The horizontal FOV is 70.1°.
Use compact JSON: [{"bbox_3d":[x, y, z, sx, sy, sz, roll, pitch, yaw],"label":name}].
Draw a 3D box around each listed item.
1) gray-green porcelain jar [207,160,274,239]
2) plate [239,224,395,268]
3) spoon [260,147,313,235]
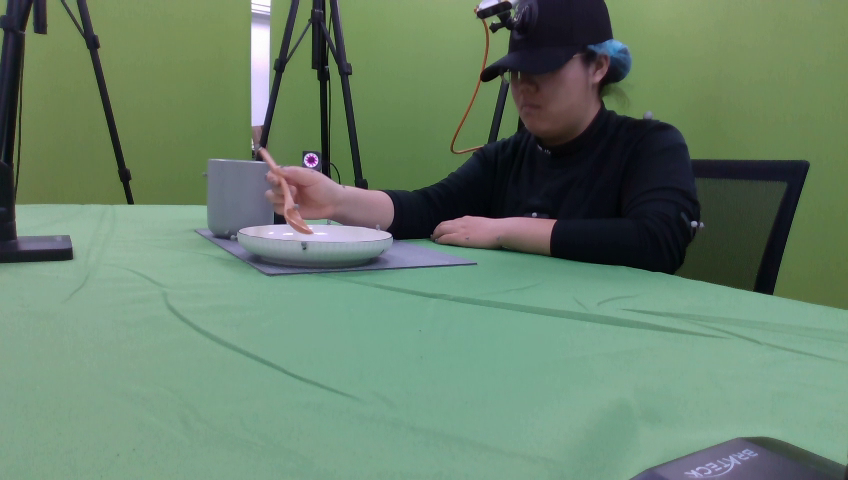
[{"bbox_3d":[-0.304,-0.068,1.003,0.106,0.126,0.106,3,7,0],"label":"gray-green porcelain jar"},{"bbox_3d":[-0.144,0.007,0.823,0.208,0.039,0.207,3,7,0],"label":"plate"},{"bbox_3d":[-0.198,-0.072,0.853,0.042,0.021,0.193,28,27,-50],"label":"spoon"}]
